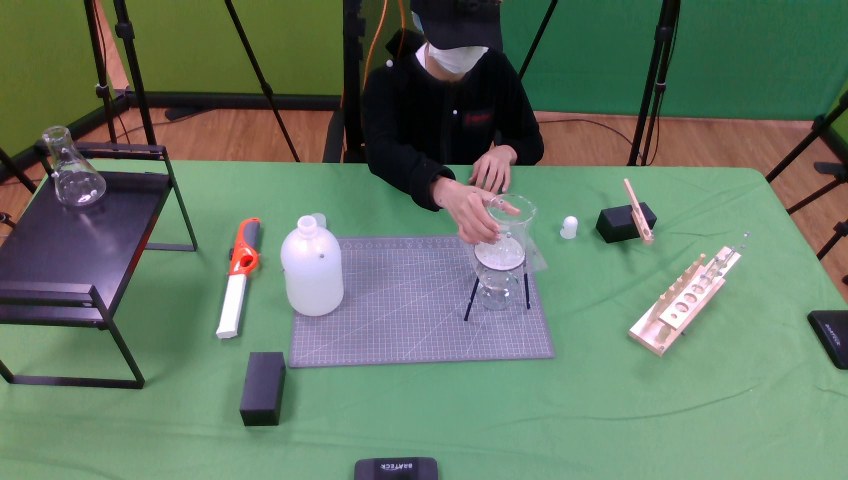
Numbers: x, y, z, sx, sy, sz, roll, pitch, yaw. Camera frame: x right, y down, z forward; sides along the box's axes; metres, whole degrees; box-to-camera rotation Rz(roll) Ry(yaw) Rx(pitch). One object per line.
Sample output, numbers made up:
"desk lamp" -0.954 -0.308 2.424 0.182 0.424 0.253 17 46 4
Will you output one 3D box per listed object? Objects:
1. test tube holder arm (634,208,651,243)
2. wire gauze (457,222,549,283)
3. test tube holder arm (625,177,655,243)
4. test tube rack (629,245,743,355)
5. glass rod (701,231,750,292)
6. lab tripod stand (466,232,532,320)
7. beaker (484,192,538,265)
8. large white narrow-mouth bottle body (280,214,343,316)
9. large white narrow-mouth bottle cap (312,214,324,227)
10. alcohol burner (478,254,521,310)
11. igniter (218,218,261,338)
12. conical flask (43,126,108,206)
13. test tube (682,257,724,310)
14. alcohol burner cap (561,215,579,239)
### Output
"test tube holder arm" 0.428 -0.030 1.189 0.010 0.015 0.087 1 47 -2
"wire gauze" 0.131 0.016 1.017 0.121 0.011 0.124 -10 44 -15
"test tube holder arm" 0.433 -0.062 1.220 0.013 0.015 0.177 1 47 -3
"test tube rack" 0.474 0.095 1.091 0.242 0.085 0.066 -34 56 -31
"glass rod" 0.519 0.045 1.050 0.008 0.201 0.008 0 55 0
"lab tripod stand" 0.125 0.059 1.065 0.148 0.132 0.147 1 45 0
"beaker" 0.137 -0.016 0.980 0.084 0.101 0.073 -6 45 -9
"large white narrow-mouth bottle body" -0.190 0.035 1.025 0.102 0.195 0.101 2 46 -2
"large white narrow-mouth bottle cap" -0.219 -0.033 1.214 0.038 0.024 0.037 2 46 -2
"alcohol burner" 0.134 0.068 1.071 0.078 0.120 0.077 0 47 0
"igniter" -0.336 0.060 1.111 0.057 0.025 0.274 -8 46 4
"conical flask" -0.555 -0.119 0.953 0.075 0.122 0.075 2 46 -2
"test tube" 0.475 0.080 1.037 0.017 0.151 0.017 2 51 -2
"alcohol burner cap" 0.299 -0.030 1.231 0.034 0.048 0.033 1 46 0
